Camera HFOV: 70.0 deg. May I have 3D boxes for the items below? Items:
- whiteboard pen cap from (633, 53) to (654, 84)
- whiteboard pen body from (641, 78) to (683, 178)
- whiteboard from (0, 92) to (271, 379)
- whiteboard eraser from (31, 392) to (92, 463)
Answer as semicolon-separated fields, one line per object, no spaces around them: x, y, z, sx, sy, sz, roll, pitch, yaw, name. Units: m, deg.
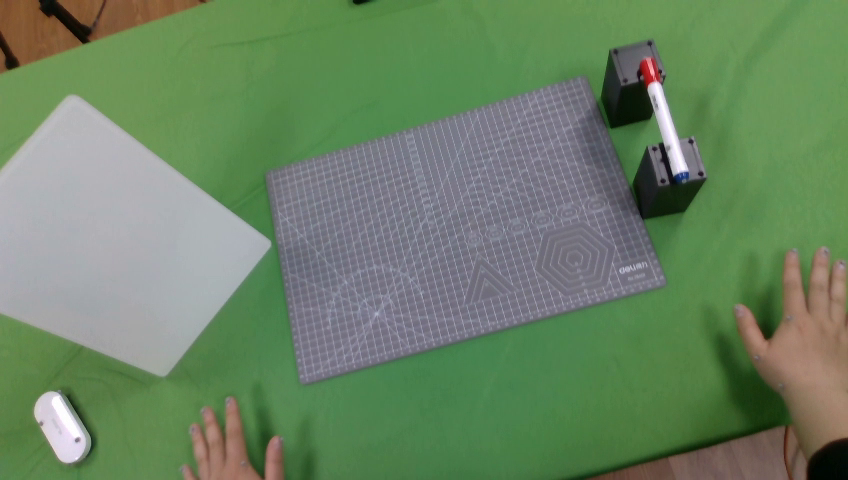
0.243;-0.188;0.668;0.017;0.017;0.032;-9;72;7;whiteboard pen cap
0.252;-0.131;0.650;0.017;0.017;0.139;-12;70;6;whiteboard pen body
-0.375;-0.008;0.703;0.142;0.309;0.217;30;79;38;whiteboard
-0.455;0.233;0.756;0.041;0.019;0.100;-42;71;-6;whiteboard eraser
